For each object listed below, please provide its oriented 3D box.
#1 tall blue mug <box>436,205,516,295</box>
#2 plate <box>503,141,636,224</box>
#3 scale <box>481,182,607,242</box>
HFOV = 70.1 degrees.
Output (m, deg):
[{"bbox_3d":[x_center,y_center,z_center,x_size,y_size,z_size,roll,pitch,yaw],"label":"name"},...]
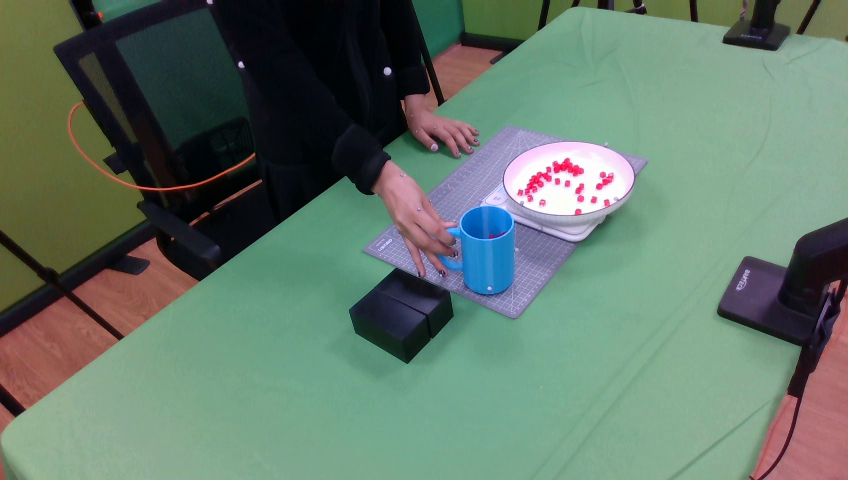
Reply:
[{"bbox_3d":[0.078,0.019,0.861,0.107,0.108,0.077,-17,43,-11],"label":"tall blue mug"},{"bbox_3d":[0.233,-0.091,0.983,0.209,0.038,0.208,-5,41,5],"label":"plate"},{"bbox_3d":[0.211,-0.070,1.014,0.199,0.032,0.149,23,49,33],"label":"scale"}]
